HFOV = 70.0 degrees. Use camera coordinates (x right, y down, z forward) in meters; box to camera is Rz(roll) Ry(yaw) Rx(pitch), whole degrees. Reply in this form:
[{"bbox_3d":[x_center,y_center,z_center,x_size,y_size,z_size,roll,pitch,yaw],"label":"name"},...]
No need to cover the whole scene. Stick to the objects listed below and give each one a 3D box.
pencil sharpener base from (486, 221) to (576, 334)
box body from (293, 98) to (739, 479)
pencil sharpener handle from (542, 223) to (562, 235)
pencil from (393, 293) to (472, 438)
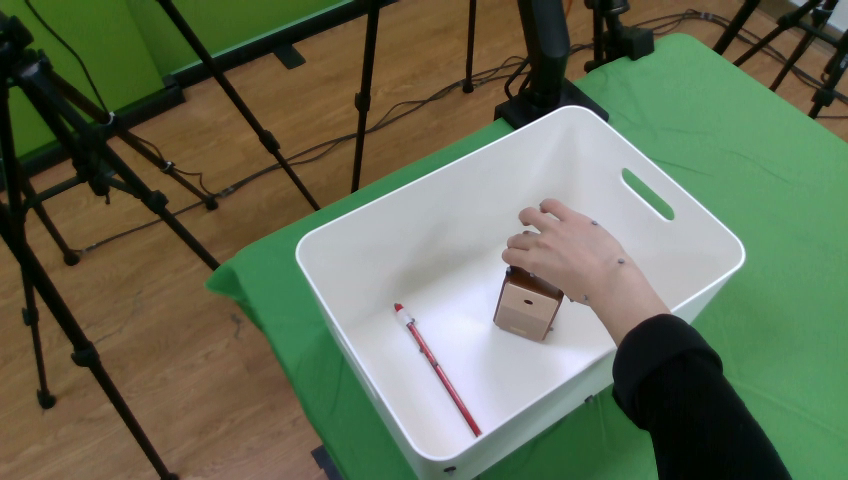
[{"bbox_3d":[0.115,0.041,0.657,0.061,0.108,0.076,24,58,12],"label":"pencil sharpener base"},{"bbox_3d":[0.087,0.046,0.633,0.364,0.162,0.251,-29,60,-17],"label":"box body"},{"bbox_3d":[0.138,-0.003,0.673,0.036,0.068,0.030,25,58,11],"label":"pencil sharpener handle"},{"bbox_3d":[0.010,0.136,0.656,0.012,0.012,0.192,-23,61,-14],"label":"pencil"}]
